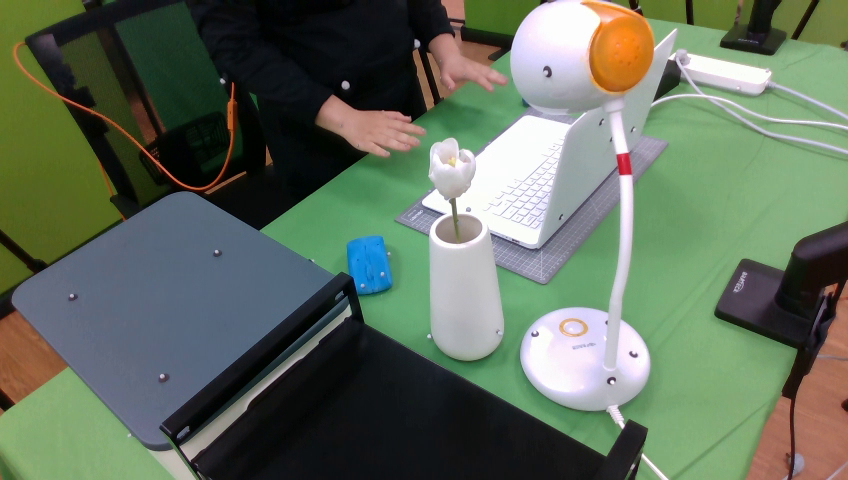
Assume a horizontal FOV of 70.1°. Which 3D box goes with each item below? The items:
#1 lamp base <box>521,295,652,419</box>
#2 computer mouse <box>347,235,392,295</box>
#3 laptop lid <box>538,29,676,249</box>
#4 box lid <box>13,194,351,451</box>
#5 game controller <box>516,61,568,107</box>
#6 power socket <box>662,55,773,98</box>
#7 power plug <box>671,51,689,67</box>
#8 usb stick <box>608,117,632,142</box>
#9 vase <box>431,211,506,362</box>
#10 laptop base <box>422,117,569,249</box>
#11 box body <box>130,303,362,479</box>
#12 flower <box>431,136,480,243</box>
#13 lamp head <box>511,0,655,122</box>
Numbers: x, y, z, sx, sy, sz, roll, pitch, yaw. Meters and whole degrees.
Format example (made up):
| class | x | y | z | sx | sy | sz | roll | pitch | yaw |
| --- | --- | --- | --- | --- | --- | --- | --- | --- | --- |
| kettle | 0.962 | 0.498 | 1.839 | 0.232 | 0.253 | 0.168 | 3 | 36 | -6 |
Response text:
| class | x | y | z | sx | sy | sz | roll | pitch | yaw |
| --- | --- | --- | --- | --- | --- | --- | --- | --- | --- |
| lamp base | 0.200 | 0.095 | 0.710 | 0.161 | 0.181 | 0.177 | -16 | 43 | -10 |
| computer mouse | -0.086 | 0.035 | 0.936 | 0.063 | 0.041 | 0.116 | -8 | 45 | -5 |
| laptop lid | 0.288 | -0.159 | 0.939 | 0.013 | 0.242 | 0.358 | 31 | 51 | 24 |
| box lid | -0.292 | 0.067 | 0.717 | 0.368 | 0.015 | 0.264 | 25 | 50 | 33 |
| game controller | 0.259 | -0.352 | 1.336 | 0.097 | 0.052 | 0.154 | -3 | 41 | 2 |
| power socket | 0.619 | -0.352 | 1.289 | 0.225 | 0.033 | 0.072 | 26 | 51 | 33 |
| power plug | 0.541 | -0.378 | 1.301 | 0.073 | 0.053 | 0.035 | -33 | 46 | -24 |
| usb stick | 0.370 | -0.207 | 1.147 | 0.021 | 0.027 | 0.059 | 27 | 55 | 32 |
| vase | 0.054 | 0.062 | 0.757 | 0.098 | 0.201 | 0.097 | -3 | 40 | 3 |
| laptop base | 0.192 | -0.116 | 1.087 | 0.233 | 0.023 | 0.355 | 21 | 48 | 34 |
| box body | -0.285 | 0.123 | 0.766 | 0.361 | 0.161 | 0.255 | 25 | 49 | 33 |
| flower | 0.041 | 0.011 | 0.691 | 0.044 | 0.363 | 0.038 | 16 | 62 | 14 |
| lamp head | 0.155 | -0.168 | 0.564 | 0.113 | 0.113 | 0.122 | -18 | 23 | -12 |
